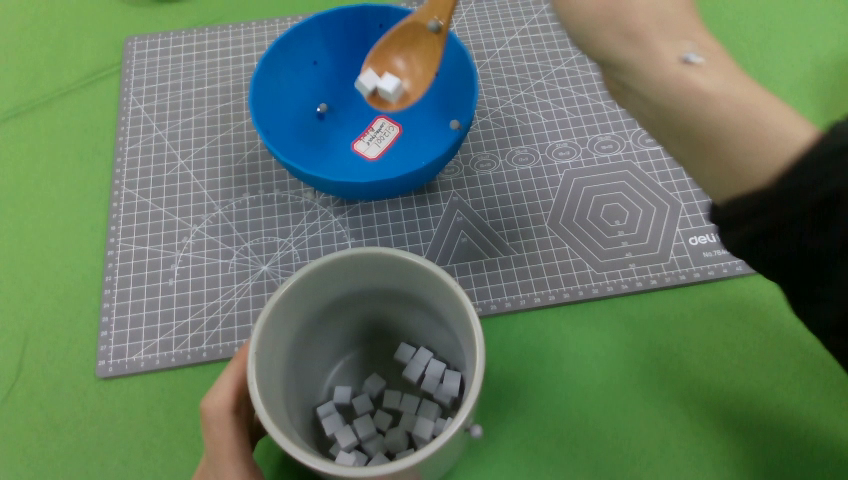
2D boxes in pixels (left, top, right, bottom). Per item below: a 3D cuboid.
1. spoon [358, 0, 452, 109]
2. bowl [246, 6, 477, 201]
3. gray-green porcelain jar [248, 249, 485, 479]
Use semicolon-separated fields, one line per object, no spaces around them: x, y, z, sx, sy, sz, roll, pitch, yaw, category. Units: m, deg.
0.024;-0.148;0.318;0.041;0.194;0.022;48;31;12;spoon
-0.040;-0.081;0.427;0.151;0.077;0.150;0;63;1;bowl
-0.023;0.078;0.322;0.106;0.127;0.105;-1;62;2;gray-green porcelain jar
